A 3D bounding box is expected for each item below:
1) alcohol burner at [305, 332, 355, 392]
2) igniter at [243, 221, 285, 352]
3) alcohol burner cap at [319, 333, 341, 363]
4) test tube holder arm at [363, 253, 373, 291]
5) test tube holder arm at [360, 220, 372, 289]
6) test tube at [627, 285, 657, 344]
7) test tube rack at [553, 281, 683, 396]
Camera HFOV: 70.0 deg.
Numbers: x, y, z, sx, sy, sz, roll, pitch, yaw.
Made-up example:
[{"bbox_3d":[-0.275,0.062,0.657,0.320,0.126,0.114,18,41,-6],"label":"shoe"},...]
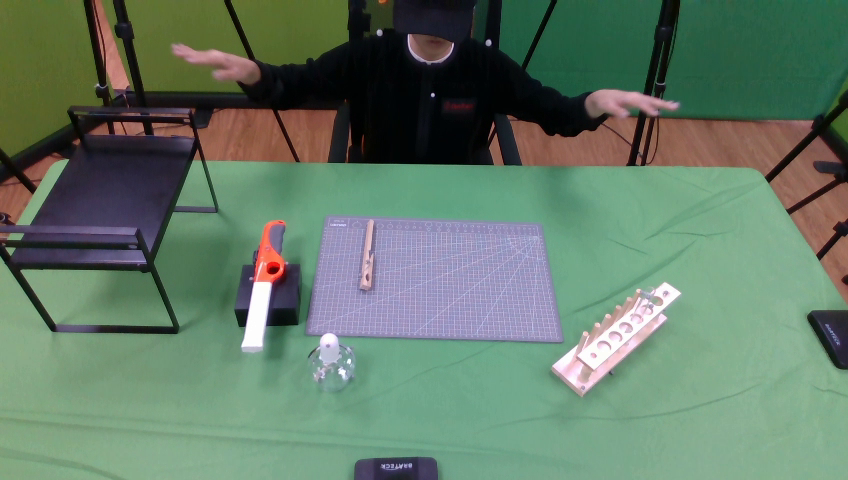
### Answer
[{"bbox_3d":[-0.147,0.183,0.943,0.078,0.119,0.077,2,44,-2],"label":"alcohol burner"},{"bbox_3d":[-0.273,0.069,1.041,0.057,0.025,0.274,2,48,-5],"label":"igniter"},{"bbox_3d":[-0.144,0.161,0.921,0.034,0.048,0.033,2,45,-2],"label":"alcohol burner cap"},{"bbox_3d":[-0.104,0.058,1.132,0.010,0.015,0.087,28,38,-26],"label":"test tube holder arm"},{"bbox_3d":[-0.110,0.024,1.161,0.013,0.015,0.177,27,38,-27],"label":"test tube holder arm"},{"bbox_3d":[0.349,0.124,0.983,0.017,0.151,0.017,0,49,0],"label":"test tube"},{"bbox_3d":[0.329,0.153,1.023,0.242,0.085,0.066,-30,54,-28],"label":"test tube rack"}]
